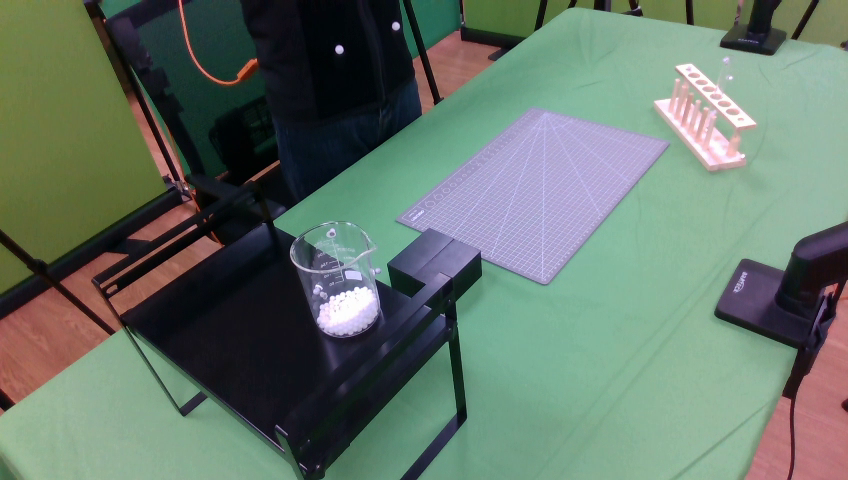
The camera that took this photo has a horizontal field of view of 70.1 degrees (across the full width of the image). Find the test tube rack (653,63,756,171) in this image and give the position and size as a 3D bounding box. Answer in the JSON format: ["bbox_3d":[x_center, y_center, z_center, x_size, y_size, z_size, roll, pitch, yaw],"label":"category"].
[{"bbox_3d":[0.510,-0.233,1.120,0.067,0.085,0.241,-9,41,-1],"label":"test tube rack"}]

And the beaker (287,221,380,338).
[{"bbox_3d":[-0.083,0.042,0.602,0.084,0.101,0.073,-5,41,3],"label":"beaker"}]

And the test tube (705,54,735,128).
[{"bbox_3d":[0.523,-0.260,1.073,0.017,0.151,0.017,-3,47,4],"label":"test tube"}]
